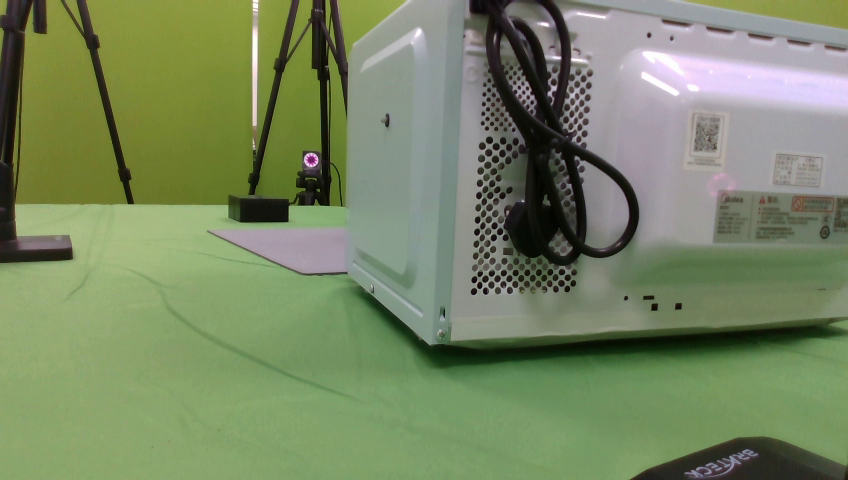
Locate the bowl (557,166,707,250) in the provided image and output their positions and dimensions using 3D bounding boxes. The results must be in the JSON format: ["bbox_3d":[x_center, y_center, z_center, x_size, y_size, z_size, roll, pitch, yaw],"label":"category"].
[{"bbox_3d":[0.214,-0.035,0.640,0.151,0.077,0.151,2,11,0],"label":"bowl"}]

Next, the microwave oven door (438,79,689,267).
[{"bbox_3d":[0.181,-0.102,0.872,0.354,0.243,0.039,7,9,32],"label":"microwave oven door"}]

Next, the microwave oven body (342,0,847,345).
[{"bbox_3d":[0.169,-0.060,0.573,0.444,0.260,0.324,1,7,-20],"label":"microwave oven body"}]

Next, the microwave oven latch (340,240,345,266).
[{"bbox_3d":[-0.052,0.016,0.662,0.079,0.029,0.030,1,7,-19],"label":"microwave oven latch"}]
